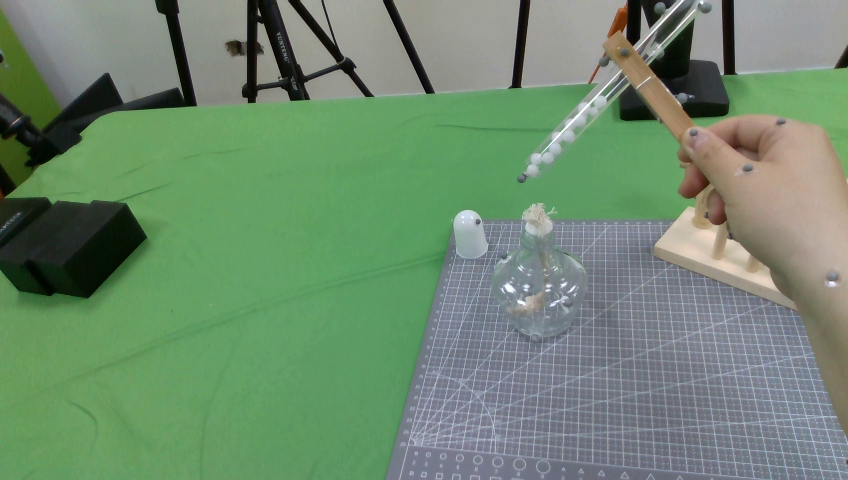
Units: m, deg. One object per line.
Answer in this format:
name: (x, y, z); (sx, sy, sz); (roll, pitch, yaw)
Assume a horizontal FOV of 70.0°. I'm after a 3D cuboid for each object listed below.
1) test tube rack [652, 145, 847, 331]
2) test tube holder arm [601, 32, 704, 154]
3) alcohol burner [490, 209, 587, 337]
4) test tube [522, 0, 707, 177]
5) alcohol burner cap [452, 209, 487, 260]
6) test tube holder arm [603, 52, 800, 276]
test tube rack: (0.306, 0.006, 0.463); (0.240, 0.086, 0.066); (25, 53, 36)
test tube holder arm: (0.142, -0.091, 0.377); (0.015, 0.087, 0.010); (-38, -6, 22)
alcohol burner: (0.090, 0.021, 0.479); (0.078, 0.120, 0.077); (-6, 42, 6)
test tube: (0.118, -0.097, 0.392); (0.150, 0.017, 0.017); (-47, 36, 21)
alcohol burner cap: (0.042, -0.008, 0.580); (0.034, 0.048, 0.033); (-6, 42, 6)
test tube holder arm: (0.169, -0.055, 0.374); (0.015, 0.013, 0.177); (-38, 77, 23)
